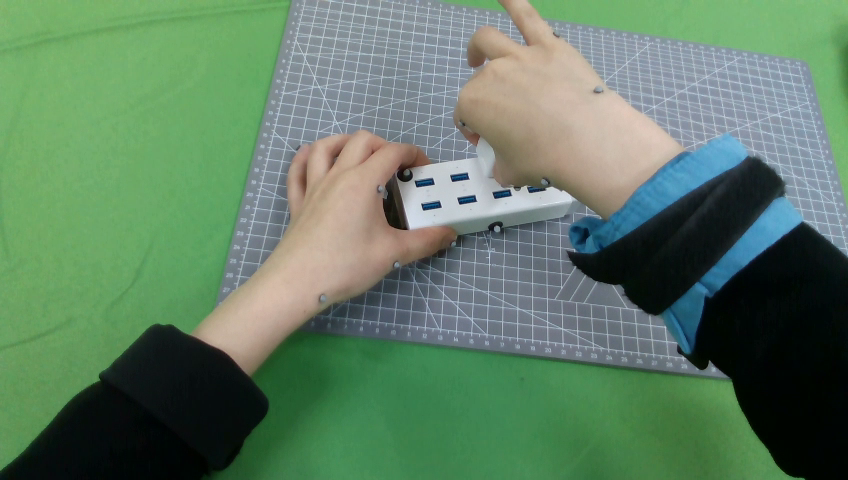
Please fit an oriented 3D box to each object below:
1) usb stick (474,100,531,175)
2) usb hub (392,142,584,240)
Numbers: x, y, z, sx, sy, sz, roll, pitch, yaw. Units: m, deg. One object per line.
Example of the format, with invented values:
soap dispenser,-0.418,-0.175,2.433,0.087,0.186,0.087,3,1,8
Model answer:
usb stick,0.049,-0.062,0.401,0.021,0.059,0.027,-15,62,-17
usb hub,0.043,-0.036,0.420,0.125,0.025,0.049,-10,65,-13
